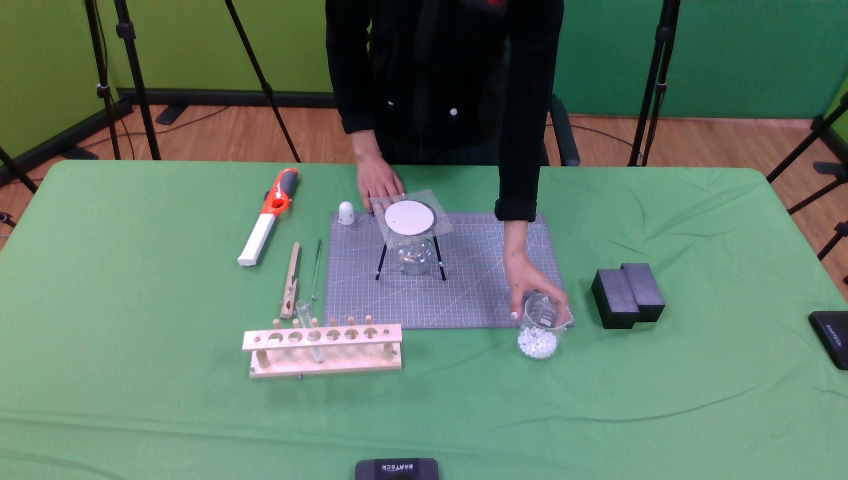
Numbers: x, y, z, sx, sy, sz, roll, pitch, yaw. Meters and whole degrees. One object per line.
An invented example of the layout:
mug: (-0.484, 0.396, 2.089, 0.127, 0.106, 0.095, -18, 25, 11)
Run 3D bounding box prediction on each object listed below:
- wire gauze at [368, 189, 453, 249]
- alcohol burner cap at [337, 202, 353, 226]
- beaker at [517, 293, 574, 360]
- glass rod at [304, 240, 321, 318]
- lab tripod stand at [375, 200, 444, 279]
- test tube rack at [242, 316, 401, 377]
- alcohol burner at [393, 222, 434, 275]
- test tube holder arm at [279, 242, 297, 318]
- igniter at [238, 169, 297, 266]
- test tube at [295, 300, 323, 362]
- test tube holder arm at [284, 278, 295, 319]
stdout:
wire gauze: (-0.025, -0.042, 1.064, 0.121, 0.011, 0.124, -11, 49, -17)
alcohol burner cap: (-0.161, -0.056, 1.223, 0.034, 0.048, 0.033, 2, 46, -2)
beaker: (0.200, 0.149, 1.018, 0.084, 0.101, 0.073, 14, 47, 8)
glass rod: (-0.207, 0.068, 1.128, 0.008, 0.008, 0.198, 2, 43, -2)
lab tripod stand: (-0.023, 0.003, 1.114, 0.148, 0.132, 0.147, 4, 45, -3)
test tube rack: (-0.160, 0.166, 0.983, 0.242, 0.085, 0.066, -2, 46, -6)
alcohol burner: (-0.018, 0.009, 1.122, 0.078, 0.119, 0.077, 3, 48, -3)
test tube holder arm: (-0.249, 0.069, 1.113, 0.013, 0.015, 0.177, 25, 38, -27)
igniter: (-0.313, -0.055, 1.224, 0.057, 0.025, 0.275, 1, 45, 10)
test tube: (-0.176, 0.143, 0.935, 0.017, 0.151, 0.017, -2, 46, 2)
test tube holder arm: (-0.241, 0.103, 1.085, 0.010, 0.015, 0.087, 25, 38, -27)
